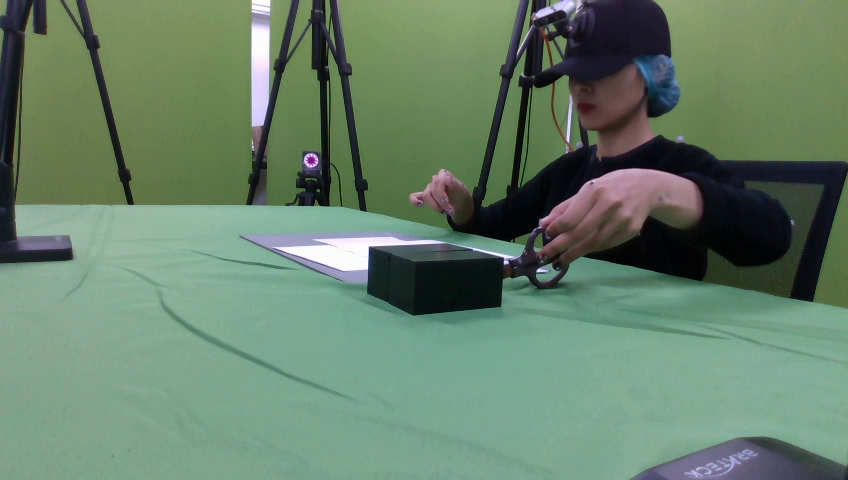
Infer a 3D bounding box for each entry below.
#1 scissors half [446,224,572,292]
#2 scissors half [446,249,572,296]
[{"bbox_3d":[0.095,0.021,0.664,0.176,0.040,0.013,-24,21,-26],"label":"scissors half"},{"bbox_3d":[0.097,0.039,0.670,0.176,0.040,0.012,-10,20,-30],"label":"scissors half"}]
